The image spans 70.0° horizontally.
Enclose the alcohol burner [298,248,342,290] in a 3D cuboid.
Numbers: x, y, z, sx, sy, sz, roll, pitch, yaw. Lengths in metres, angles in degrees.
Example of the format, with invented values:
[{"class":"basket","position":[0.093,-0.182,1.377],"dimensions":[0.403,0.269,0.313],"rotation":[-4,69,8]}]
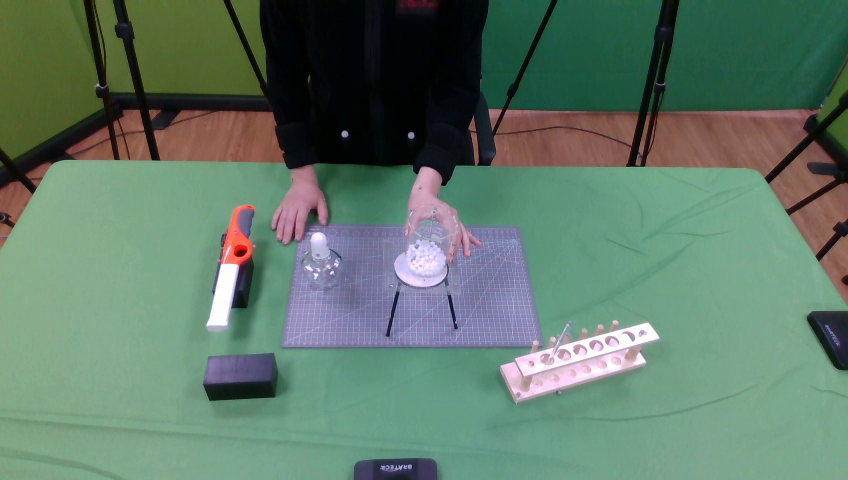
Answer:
[{"class":"alcohol burner","position":[-0.187,0.033,1.084],"dimensions":[0.078,0.120,0.077],"rotation":[1,46,-1]}]

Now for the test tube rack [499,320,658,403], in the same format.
[{"class":"test tube rack","position":[0.252,0.187,0.994],"dimensions":[0.243,0.085,0.066],"rotation":[-12,48,-15]}]

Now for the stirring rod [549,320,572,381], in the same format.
[{"class":"stirring rod","position":[0.202,0.167,0.901],"dimensions":[0.006,0.177,0.014],"rotation":[-17,55,-11]}]

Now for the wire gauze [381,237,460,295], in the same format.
[{"class":"wire gauze","position":[-0.007,0.040,0.983],"dimensions":[0.125,0.011,0.120],"rotation":[1,44,-4]}]

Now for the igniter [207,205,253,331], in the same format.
[{"class":"igniter","position":[-0.339,0.038,1.066],"dimensions":[0.057,0.025,0.274],"rotation":[2,48,-6]}]

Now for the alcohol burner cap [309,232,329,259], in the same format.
[{"class":"alcohol burner cap","position":[-0.186,0.008,1.058],"dimensions":[0.034,0.048,0.033],"rotation":[0,43,1]}]

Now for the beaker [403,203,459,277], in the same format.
[{"class":"beaker","position":[0.008,0.004,0.950],"dimensions":[0.084,0.101,0.073],"rotation":[15,49,5]}]

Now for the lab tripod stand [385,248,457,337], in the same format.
[{"class":"lab tripod stand","position":[-0.010,0.087,1.032],"dimensions":[0.148,0.132,0.147],"rotation":[1,45,-1]}]
